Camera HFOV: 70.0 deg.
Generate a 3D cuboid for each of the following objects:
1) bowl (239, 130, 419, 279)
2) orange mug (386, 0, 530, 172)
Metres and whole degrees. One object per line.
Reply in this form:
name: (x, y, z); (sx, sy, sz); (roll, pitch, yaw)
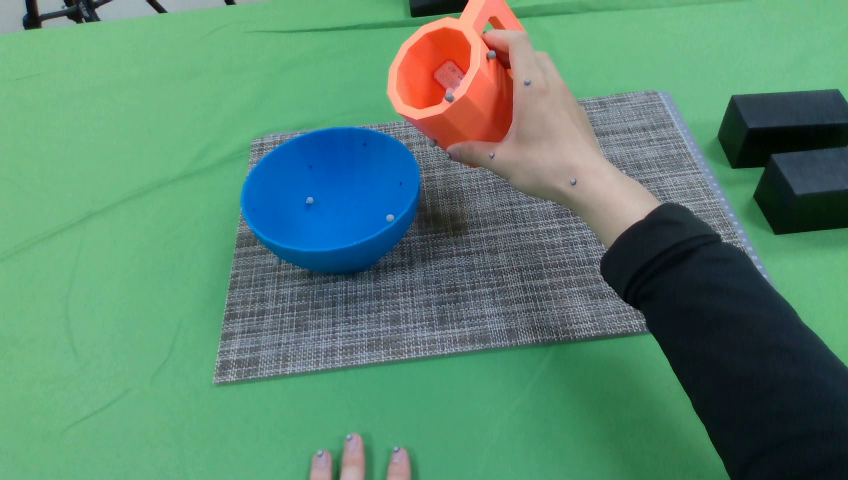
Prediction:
bowl: (-0.075, -0.019, 0.531); (0.151, 0.077, 0.150); (-3, 48, 4)
orange mug: (0.038, -0.132, 0.505); (0.082, 0.102, 0.126); (28, 94, 38)
